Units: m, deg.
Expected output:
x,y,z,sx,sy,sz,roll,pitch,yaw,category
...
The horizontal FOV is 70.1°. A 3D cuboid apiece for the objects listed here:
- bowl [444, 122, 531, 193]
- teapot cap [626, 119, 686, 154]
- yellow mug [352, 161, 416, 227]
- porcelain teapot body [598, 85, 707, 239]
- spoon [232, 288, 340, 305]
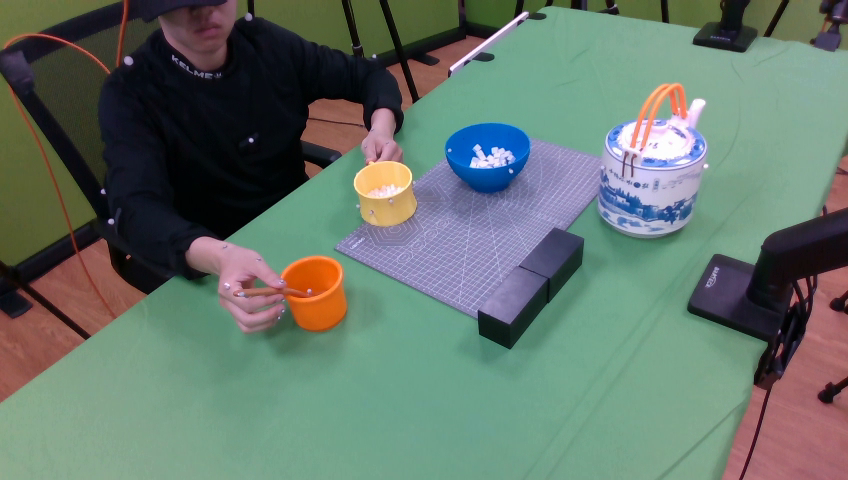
x,y,z,sx,sy,sz,roll,pitch,yaw,category
0.113,-0.136,1.063,0.151,0.077,0.150,-4,41,4,bowl
0.338,-0.153,0.882,0.085,0.044,0.085,-3,38,3,teapot cap
-0.073,-0.089,1.039,0.100,0.064,0.129,-21,46,-14,yellow mug
0.363,-0.137,0.921,0.144,0.226,0.206,28,51,36,porcelain teapot body
-0.182,0.073,0.812,0.041,0.195,0.021,14,89,31,spoon
